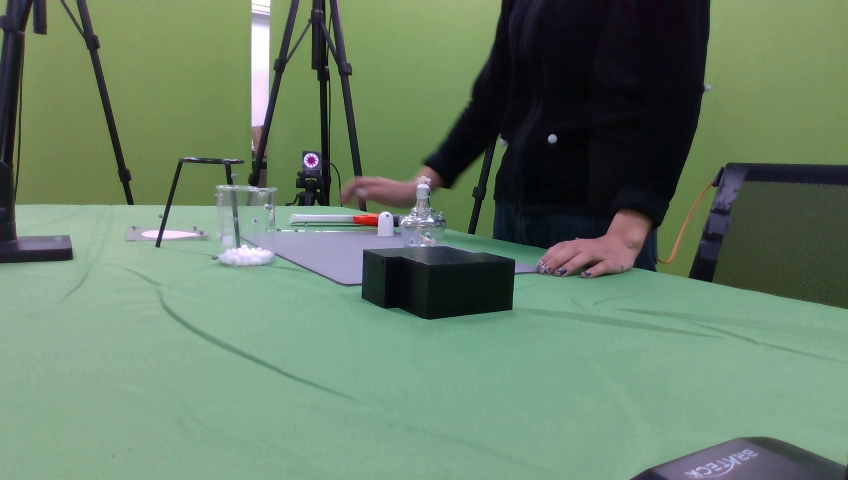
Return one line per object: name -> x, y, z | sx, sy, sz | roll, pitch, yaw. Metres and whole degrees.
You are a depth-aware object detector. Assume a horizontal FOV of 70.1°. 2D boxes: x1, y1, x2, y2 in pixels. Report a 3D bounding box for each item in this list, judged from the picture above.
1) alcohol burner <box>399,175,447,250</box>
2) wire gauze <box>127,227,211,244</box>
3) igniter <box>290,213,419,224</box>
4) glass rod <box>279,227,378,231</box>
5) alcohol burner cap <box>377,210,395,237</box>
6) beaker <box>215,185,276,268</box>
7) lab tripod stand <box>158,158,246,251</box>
alcohol burner -> -0.001, -0.044, 0.961 | 0.078, 0.119, 0.078 | 0, 8, 0
wire gauze -> -0.420, -0.010, 0.999 | 0.122, 0.011, 0.124 | -2, 10, -24
igniter -> -0.143, -0.046, 1.288 | 0.278, 0.025, 0.057 | -1, -3, -24
glass rod -> -0.175, -0.021, 1.161 | 0.200, 0.008, 0.008 | 1, 7, -15
alcohol burner cap -> -0.069, -0.031, 1.112 | 0.034, 0.048, 0.034 | 2, 8, 0
beaker -> -0.226, -0.019, 0.773 | 0.074, 0.100, 0.084 | 5, 7, 14
lab tripod stand -> -0.314, -0.055, 0.891 | 0.148, 0.131, 0.148 | 2, 9, 0
